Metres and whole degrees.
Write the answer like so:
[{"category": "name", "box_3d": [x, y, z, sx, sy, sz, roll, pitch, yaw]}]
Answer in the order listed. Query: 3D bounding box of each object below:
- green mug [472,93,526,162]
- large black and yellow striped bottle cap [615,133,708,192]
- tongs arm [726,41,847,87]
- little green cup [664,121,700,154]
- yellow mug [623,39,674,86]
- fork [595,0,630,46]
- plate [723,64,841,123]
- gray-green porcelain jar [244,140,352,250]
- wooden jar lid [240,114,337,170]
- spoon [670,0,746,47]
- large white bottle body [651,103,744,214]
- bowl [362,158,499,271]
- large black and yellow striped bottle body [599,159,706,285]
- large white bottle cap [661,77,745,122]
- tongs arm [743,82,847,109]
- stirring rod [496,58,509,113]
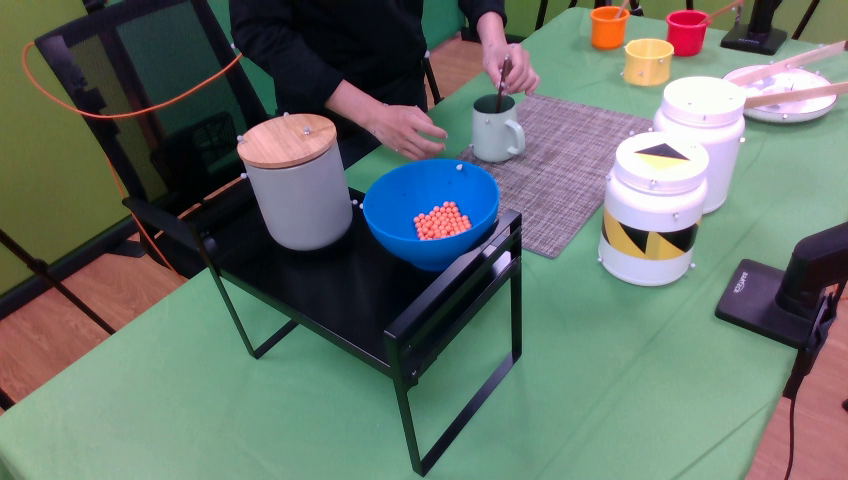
[{"category": "green mug", "box_3d": [0.144, -0.202, 1.122, 0.093, 0.105, 0.124, -29, 45, -23]}, {"category": "large black and yellow striped bottle cap", "box_3d": [0.313, -0.105, 0.798, 0.115, 0.019, 0.114, -5, 41, 5]}, {"category": "tongs arm", "box_3d": [0.712, -0.332, 1.194, 0.386, 0.026, 0.050, -18, 44, -16]}, {"category": "little green cup", "box_3d": [0.473, -0.188, 1.113, 0.061, 0.039, 0.061, -5, 40, 5]}, {"category": "yellow mug", "box_3d": [0.485, -0.398, 1.334, 0.100, 0.064, 0.130, -18, 41, -10]}, {"category": "fork", "box_3d": [0.480, -0.556, 1.452, 0.028, 0.019, 0.207, 42, 104, 40]}, {"category": "plate", "box_3d": [0.695, -0.282, 1.189, 0.207, 0.039, 0.206, -4, 40, 4]}, {"category": "gray-green porcelain jar", "box_3d": [-0.144, -0.060, 0.714, 0.106, 0.127, 0.105, -4, 41, 4]}, {"category": "wooden jar lid", "box_3d": [-0.149, -0.106, 0.673, 0.108, 0.021, 0.108, -6, 38, 5]}, {"category": "spoon", "box_3d": [0.629, -0.485, 1.350, 0.022, 0.193, 0.042, 48, 54, -7]}, {"category": "large white bottle body", "box_3d": [0.426, -0.146, 0.958, 0.130, 0.185, 0.130, -4, 40, 4]}, {"category": "bowl", "box_3d": [0.011, -0.019, 0.679, 0.151, 0.077, 0.150, -5, 41, 5]}, {"category": "large black and yellow striped bottle body", "box_3d": [0.320, -0.042, 0.854, 0.131, 0.185, 0.130, -4, 41, 4]}, {"category": "large white bottle cap", "box_3d": [0.415, -0.210, 0.904, 0.115, 0.018, 0.114, -4, 40, 4]}, {"category": "tongs arm", "box_3d": [0.738, -0.282, 1.134, 0.388, 0.028, 0.028, -9, 46, -5]}, {"category": "stirring rod", "box_3d": [0.136, -0.251, 1.082, 0.006, 0.176, 0.014, 21, 57, 13]}]
